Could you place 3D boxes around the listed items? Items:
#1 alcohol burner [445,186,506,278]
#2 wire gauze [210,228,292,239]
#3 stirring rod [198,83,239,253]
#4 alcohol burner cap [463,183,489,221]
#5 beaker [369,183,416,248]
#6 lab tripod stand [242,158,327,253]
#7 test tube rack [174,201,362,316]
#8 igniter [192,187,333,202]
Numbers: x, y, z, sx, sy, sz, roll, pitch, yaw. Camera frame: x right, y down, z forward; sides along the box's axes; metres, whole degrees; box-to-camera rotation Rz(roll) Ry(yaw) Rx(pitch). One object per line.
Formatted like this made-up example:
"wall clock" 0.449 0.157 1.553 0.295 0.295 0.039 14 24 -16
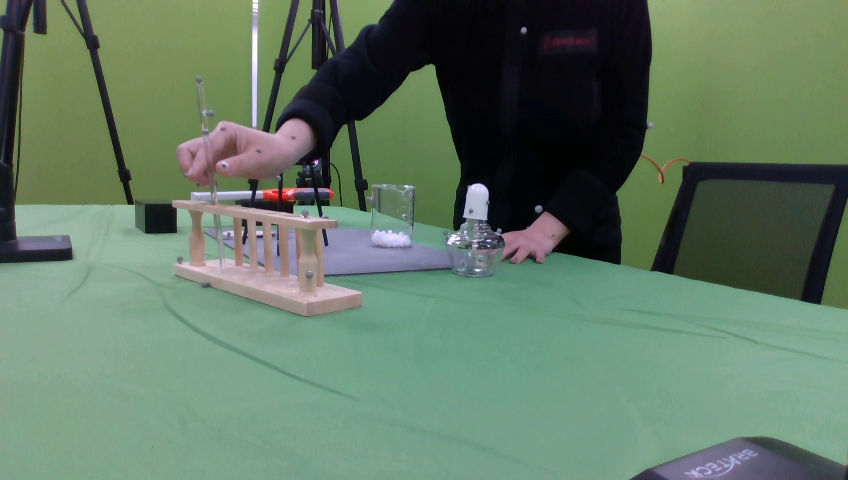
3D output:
"alcohol burner" 0.065 -0.012 0.771 0.078 0.119 0.078 0 7 0
"wire gauze" -0.298 -0.013 1.039 0.122 0.011 0.124 -2 6 -27
"stirring rod" -0.211 -0.072 0.623 0.006 0.176 0.014 -13 13 -19
"alcohol burner cap" 0.067 -0.048 0.765 0.034 0.048 0.034 5 5 0
"beaker" -0.050 -0.039 0.971 0.074 0.100 0.083 -1 9 -25
"lab tripod stand" -0.207 -0.054 0.895 0.148 0.131 0.148 3 5 0
"test tube rack" -0.169 0.010 0.622 0.241 0.085 0.067 9 9 41
"igniter" -0.316 -0.090 1.213 0.278 0.025 0.057 -5 12 -31
